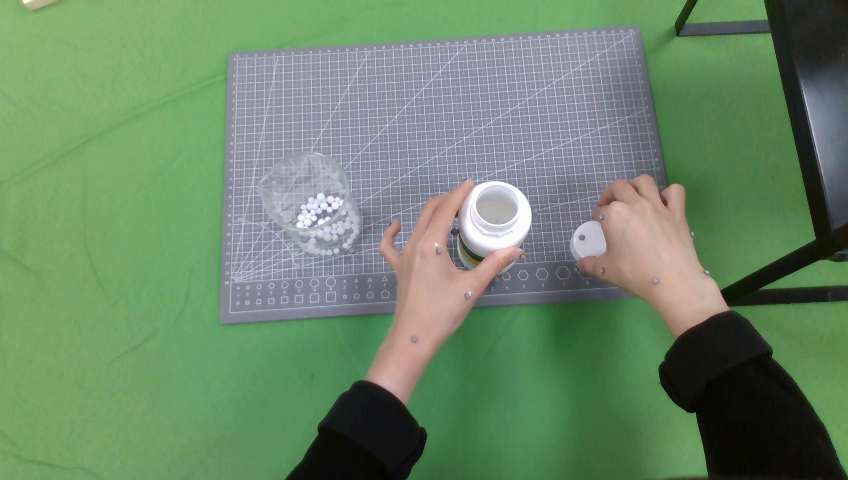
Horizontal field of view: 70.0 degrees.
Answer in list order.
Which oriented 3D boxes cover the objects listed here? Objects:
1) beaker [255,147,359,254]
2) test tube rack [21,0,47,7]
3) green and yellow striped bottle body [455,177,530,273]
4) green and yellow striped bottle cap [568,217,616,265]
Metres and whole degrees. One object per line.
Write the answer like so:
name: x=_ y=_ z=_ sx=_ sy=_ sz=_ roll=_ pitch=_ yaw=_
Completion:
beaker: x=-0.103 y=-0.031 z=0.563 sx=0.084 sy=0.101 sz=0.073 roll=7 pitch=74 yaw=4
test tube rack: x=-0.357 y=-0.354 z=0.670 sx=0.242 sy=0.085 sz=0.066 roll=-24 pitch=74 yaw=-5
green and yellow striped bottle body: x=0.060 y=-0.014 z=0.543 sx=0.063 sy=0.120 sz=0.063 roll=0 pitch=74 yaw=2
green and yellow striped bottle cap: x=0.164 y=0.001 z=0.590 sx=0.045 sy=0.020 sz=0.045 roll=-1 pitch=74 yaw=4
